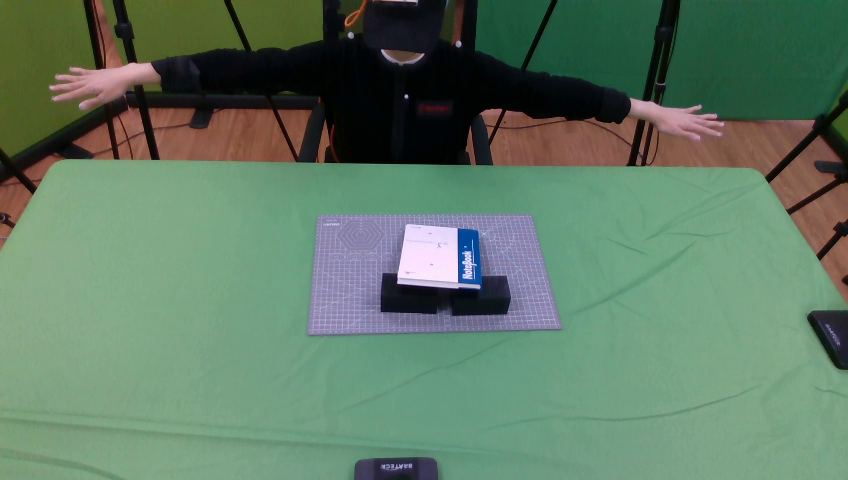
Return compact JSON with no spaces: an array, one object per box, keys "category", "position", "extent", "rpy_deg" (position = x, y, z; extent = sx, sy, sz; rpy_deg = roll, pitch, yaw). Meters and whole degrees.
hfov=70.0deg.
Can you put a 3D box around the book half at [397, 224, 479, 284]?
[{"category":"book half","position":[0.029,0.023,1.128],"extent":[0.143,0.007,0.209],"rpy_deg":[5,28,1]}]
